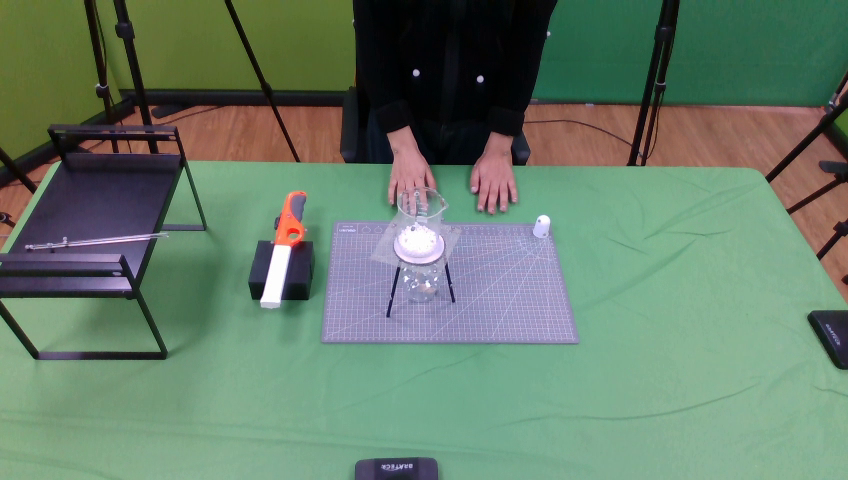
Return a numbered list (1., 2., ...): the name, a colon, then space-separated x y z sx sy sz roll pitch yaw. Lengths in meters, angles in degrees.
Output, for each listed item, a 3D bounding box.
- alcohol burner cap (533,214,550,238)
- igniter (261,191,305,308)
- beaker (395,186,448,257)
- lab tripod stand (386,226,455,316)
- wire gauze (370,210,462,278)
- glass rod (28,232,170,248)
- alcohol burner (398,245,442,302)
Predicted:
1. alcohol burner cap: 0.240 -0.031 1.228 0.034 0.048 0.033 1 46 -1
2. igniter: -0.255 0.007 1.104 0.057 0.025 0.275 5 47 -4
3. beaker: -0.007 -0.027 0.984 0.084 0.101 0.073 1 48 -4
4. lab tripod stand: -0.013 0.054 1.064 0.148 0.132 0.147 2 48 -2
5. wire gauze: -0.012 0.007 1.019 0.121 0.011 0.124 16 51 13
6. glass rod: -0.491 -0.001 0.919 0.200 0.008 0.008 -5 47 -10
7. alcohol burner: -0.006 0.055 1.078 0.078 0.119 0.077 3 44 -3
